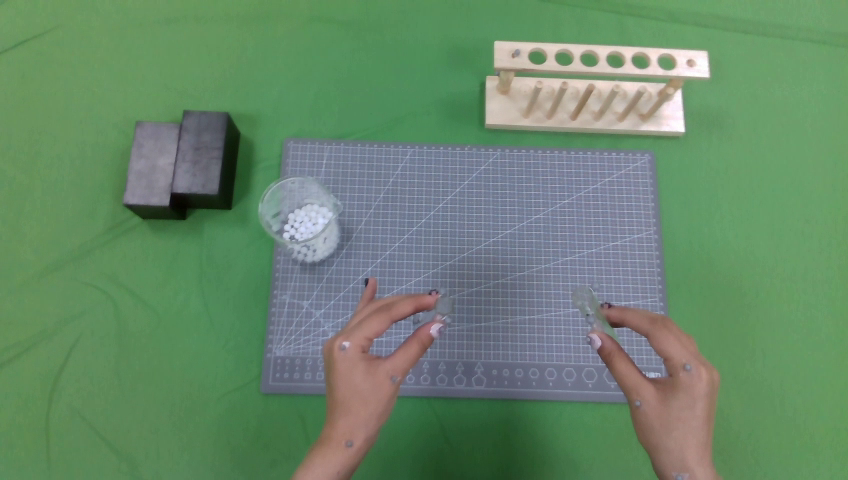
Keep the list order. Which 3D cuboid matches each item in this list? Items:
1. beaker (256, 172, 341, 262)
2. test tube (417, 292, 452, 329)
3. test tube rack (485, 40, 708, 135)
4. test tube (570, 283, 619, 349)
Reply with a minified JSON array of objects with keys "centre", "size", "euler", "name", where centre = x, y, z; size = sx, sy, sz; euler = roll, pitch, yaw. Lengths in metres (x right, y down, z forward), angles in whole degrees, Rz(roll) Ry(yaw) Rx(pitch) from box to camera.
[{"centre":[-0.127,-0.021,0.652],"size":[0.084,0.100,0.073],"euler":[-6,75,-4],"name":"beaker"},{"centre":[0.007,0.064,0.533],"size":[0.017,0.151,0.017],"euler":[1,77,-5],"name":"test tube"},{"centre":[0.198,-0.178,0.717],"size":[0.242,0.085,0.066],"euler":[2,75,-1],"name":"test tube rack"},{"centre":[0.141,0.065,0.491],"size":[0.017,0.152,0.017],"euler":[-10,64,22],"name":"test tube"}]
